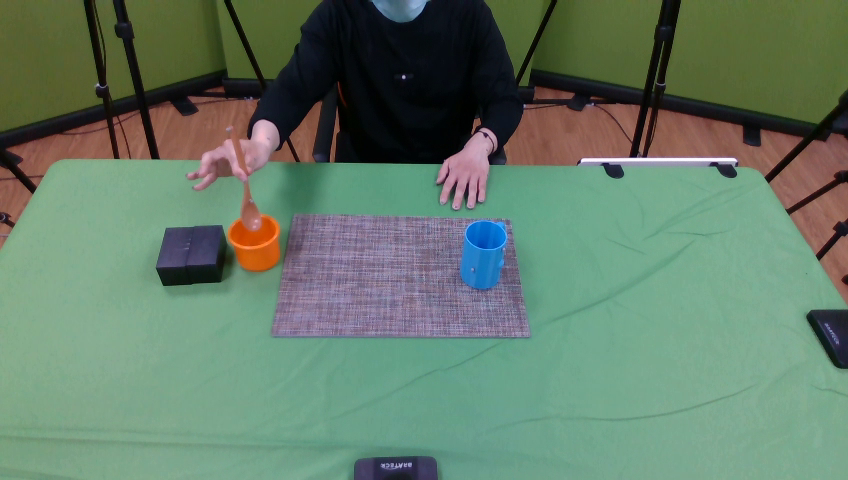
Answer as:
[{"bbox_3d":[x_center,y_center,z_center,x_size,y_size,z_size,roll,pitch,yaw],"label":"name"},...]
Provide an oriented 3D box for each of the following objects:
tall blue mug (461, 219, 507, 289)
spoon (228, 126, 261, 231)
[{"bbox_3d":[0.111,0.016,1.122,0.078,0.108,0.106,6,46,4],"label":"tall blue mug"},{"bbox_3d":[-0.310,-0.103,1.044,0.021,0.194,0.041,18,36,28],"label":"spoon"}]
